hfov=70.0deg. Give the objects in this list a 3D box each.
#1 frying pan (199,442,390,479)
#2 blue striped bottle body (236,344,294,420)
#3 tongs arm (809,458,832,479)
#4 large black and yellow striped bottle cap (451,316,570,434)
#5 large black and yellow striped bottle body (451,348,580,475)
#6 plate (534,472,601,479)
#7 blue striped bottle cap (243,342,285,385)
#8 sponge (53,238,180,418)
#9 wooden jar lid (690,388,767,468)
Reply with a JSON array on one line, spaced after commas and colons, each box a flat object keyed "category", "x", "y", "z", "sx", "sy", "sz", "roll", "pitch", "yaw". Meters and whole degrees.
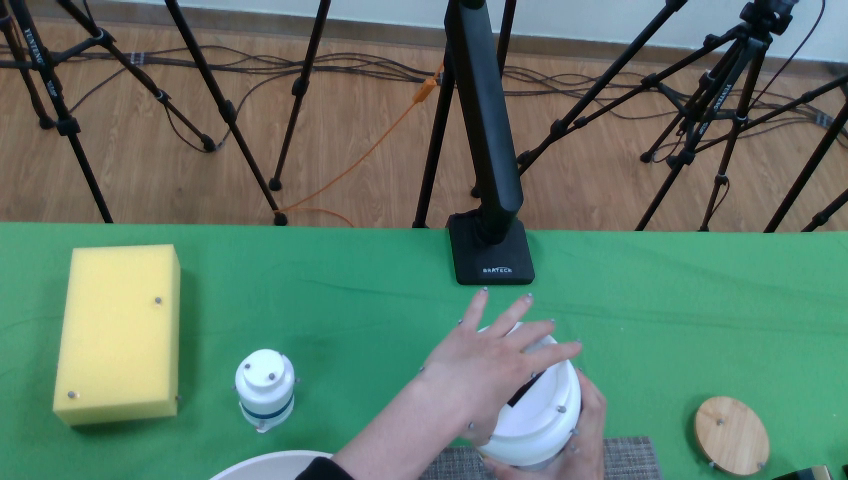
[{"category": "frying pan", "x": -0.123, "y": 0.438, "z": 0.548, "sx": 0.308, "sy": 0.103, "sz": 0.482, "roll": -1, "pitch": 50, "yaw": -10}, {"category": "blue striped bottle body", "x": -0.183, "y": 0.161, "z": 0.701, "sx": 0.063, "sy": 0.121, "sz": 0.062, "roll": 6, "pitch": 57, "yaw": -8}, {"category": "tongs arm", "x": 0.542, "y": 0.449, "z": 0.702, "sx": 0.051, "sy": 0.026, "sz": 0.382, "roll": -3, "pitch": 70, "yaw": -16}, {"category": "large black and yellow striped bottle cap", "x": 0.083, "y": 0.128, "z": 0.584, "sx": 0.115, "sy": 0.019, "sz": 0.114, "roll": -6, "pitch": 57, "yaw": 10}, {"category": "large black and yellow striped bottle body", "x": 0.102, "y": 0.171, "z": 0.656, "sx": 0.130, "sy": 0.186, "sz": 0.129, "roll": -6, "pitch": 58, "yaw": 10}, {"category": "plate", "x": 0.173, "y": 0.376, "z": 0.693, "sx": 0.209, "sy": 0.038, "sz": 0.207, "roll": 6, "pitch": 58, "yaw": -8}, {"category": "blue striped bottle cap", "x": -0.174, "y": 0.133, "z": 0.659, "sx": 0.045, "sy": 0.021, "sz": 0.044, "roll": 6, "pitch": 59, "yaw": -9}, {"category": "sponge", "x": -0.364, "y": 0.101, "z": 0.734, "sx": 0.118, "sy": 0.061, "sz": 0.205, "roll": -4, "pitch": 60, "yaw": -15}, {"category": "wooden jar lid", "x": 0.417, "y": 0.260, "z": 0.836, "sx": 0.108, "sy": 0.021, "sz": 0.107, "roll": 6, "pitch": 59, "yaw": -9}]
